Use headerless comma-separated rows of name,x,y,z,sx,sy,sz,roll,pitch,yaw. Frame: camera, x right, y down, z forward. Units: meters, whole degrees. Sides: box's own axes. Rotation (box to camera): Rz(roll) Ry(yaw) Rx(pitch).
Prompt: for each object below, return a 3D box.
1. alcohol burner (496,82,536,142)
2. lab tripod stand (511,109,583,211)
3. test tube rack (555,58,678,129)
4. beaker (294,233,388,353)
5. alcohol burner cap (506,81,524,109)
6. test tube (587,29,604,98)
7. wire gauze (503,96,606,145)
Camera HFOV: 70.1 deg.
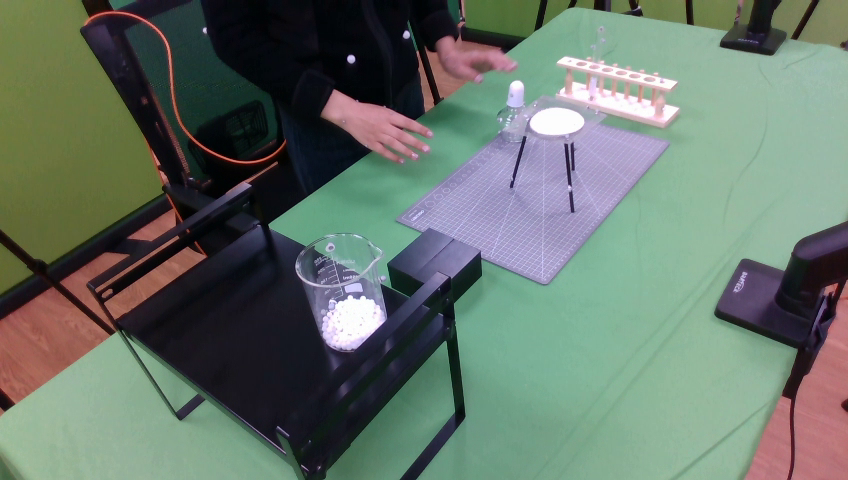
alcohol burner,0.178,-0.250,1.167,0.078,0.119,0.077,-5,42,5
lab tripod stand,0.220,-0.138,1.014,0.148,0.132,0.147,-3,41,3
test tube rack,0.390,-0.307,1.229,0.240,0.085,0.067,25,50,33
beaker,-0.073,0.053,0.585,0.084,0.101,0.073,-13,41,-6
alcohol burner cap,0.174,-0.277,1.144,0.034,0.048,0.033,0,39,1
test tube,0.342,-0.349,1.209,0.017,0.151,0.017,-3,46,4
wire gauze,0.211,-0.192,0.975,0.120,0.011,0.125,24,49,32
